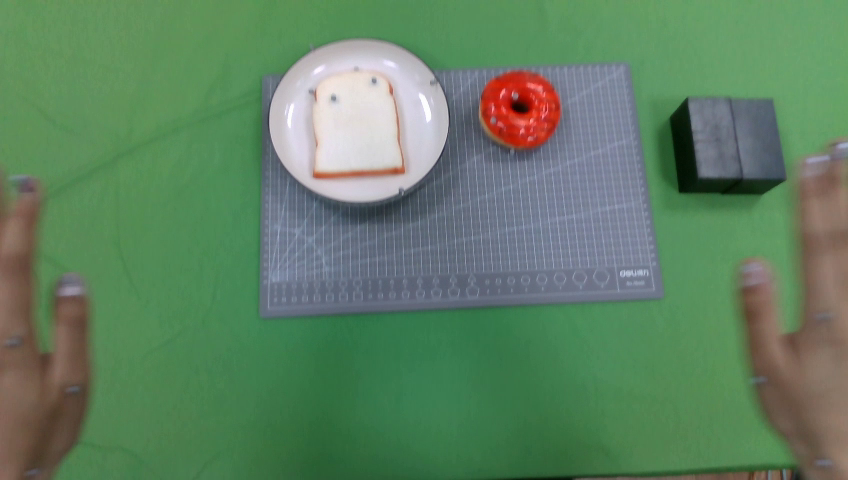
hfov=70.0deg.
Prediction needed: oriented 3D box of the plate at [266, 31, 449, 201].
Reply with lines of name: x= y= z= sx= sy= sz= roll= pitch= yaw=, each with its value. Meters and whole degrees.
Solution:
plate: x=-0.075 y=-0.140 z=0.701 sx=0.209 sy=0.038 sz=0.208 roll=1 pitch=76 yaw=-2

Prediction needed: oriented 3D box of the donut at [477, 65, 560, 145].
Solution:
donut: x=0.110 y=-0.158 z=0.708 sx=0.099 sy=0.048 sz=0.098 roll=1 pitch=77 yaw=-4

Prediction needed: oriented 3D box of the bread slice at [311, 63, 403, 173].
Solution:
bread slice: x=-0.083 y=-0.143 z=0.704 sx=0.105 sy=0.019 sz=0.131 roll=-5 pitch=77 yaw=-4
